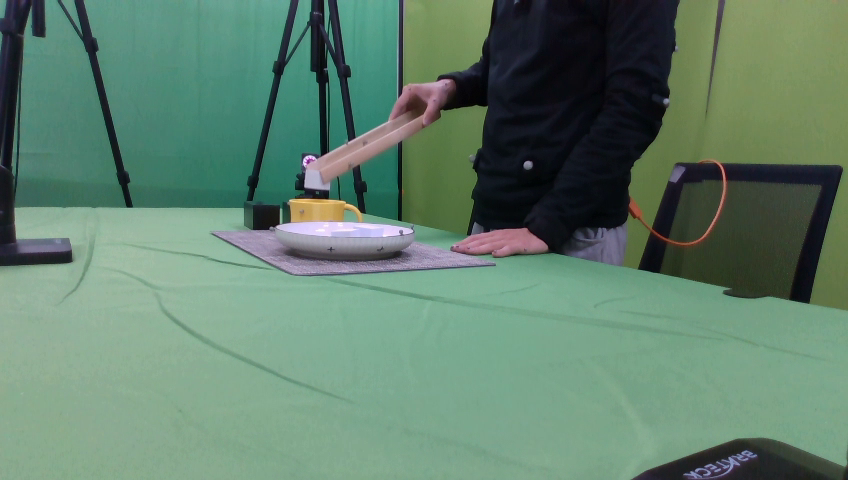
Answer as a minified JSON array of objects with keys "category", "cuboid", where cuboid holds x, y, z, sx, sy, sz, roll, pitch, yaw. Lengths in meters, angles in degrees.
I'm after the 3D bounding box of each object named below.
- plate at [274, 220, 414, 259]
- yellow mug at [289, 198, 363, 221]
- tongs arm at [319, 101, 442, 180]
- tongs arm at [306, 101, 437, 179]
[{"category":"plate","cuboid":[-0.118,-0.001,0.903,0.208,0.039,0.207,3,7,0]},{"category":"yellow mug","cuboid":[-0.174,-0.039,1.072,0.131,0.064,0.100,3,7,0]},{"category":"tongs arm","cuboid":[-0.068,-0.200,1.168,0.028,0.028,0.389,3,29,38]},{"category":"tongs arm","cuboid":[-0.087,-0.202,1.182,0.050,0.026,0.386,4,30,33]}]
